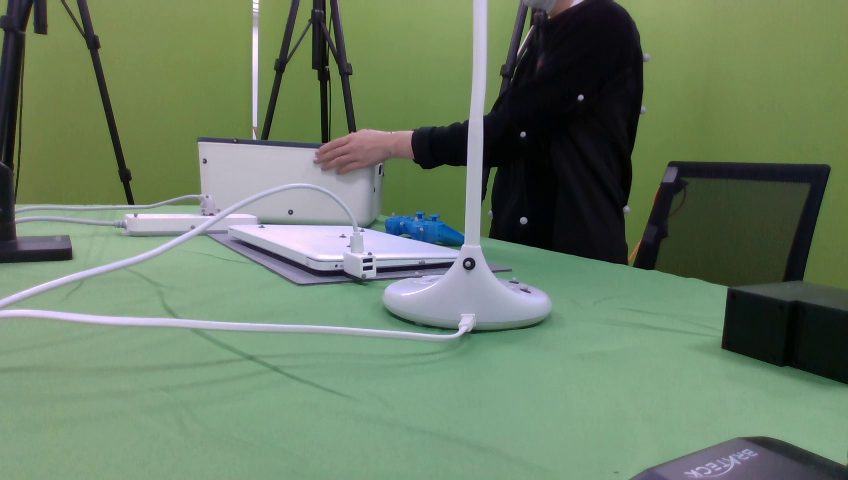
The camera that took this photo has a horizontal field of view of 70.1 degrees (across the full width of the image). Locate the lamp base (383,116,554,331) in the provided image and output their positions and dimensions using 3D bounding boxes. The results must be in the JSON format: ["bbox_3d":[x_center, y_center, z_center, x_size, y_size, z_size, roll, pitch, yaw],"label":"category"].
[{"bbox_3d":[0.045,-0.019,0.547,0.161,0.180,0.179,2,10,-4],"label":"lamp base"}]

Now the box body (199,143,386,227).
[{"bbox_3d":[-0.276,-0.124,1.335,0.364,0.160,0.254,3,7,1],"label":"box body"}]

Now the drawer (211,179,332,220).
[{"bbox_3d":[-0.328,-0.095,1.332,0.212,0.073,0.194,5,9,6],"label":"drawer"}]

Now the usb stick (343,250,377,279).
[{"bbox_3d":[-0.076,0.026,0.687,0.021,0.027,0.059,-8,8,-31],"label":"usb stick"}]

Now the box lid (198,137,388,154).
[{"bbox_3d":[-0.275,-0.204,1.330,0.372,0.015,0.263,3,6,2],"label":"box lid"}]

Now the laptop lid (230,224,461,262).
[{"bbox_3d":[-0.120,0.000,0.888,0.243,0.013,0.355,1,7,-33],"label":"laptop lid"}]

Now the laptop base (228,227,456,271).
[{"bbox_3d":[-0.122,0.011,0.889,0.237,0.023,0.352,2,6,-35],"label":"laptop base"}]

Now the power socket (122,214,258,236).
[{"bbox_3d":[-0.398,-0.028,1.049,0.228,0.032,0.072,-3,8,-34],"label":"power socket"}]

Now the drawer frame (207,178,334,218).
[{"bbox_3d":[-0.327,-0.093,1.328,0.213,0.082,0.202,-1,5,7],"label":"drawer frame"}]

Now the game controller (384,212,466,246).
[{"bbox_3d":[-0.003,-0.021,1.074,0.097,0.051,0.154,-4,9,-32],"label":"game controller"}]

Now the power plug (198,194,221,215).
[{"bbox_3d":[-0.387,-0.055,1.089,0.035,0.052,0.072,-1,7,-22],"label":"power plug"}]
